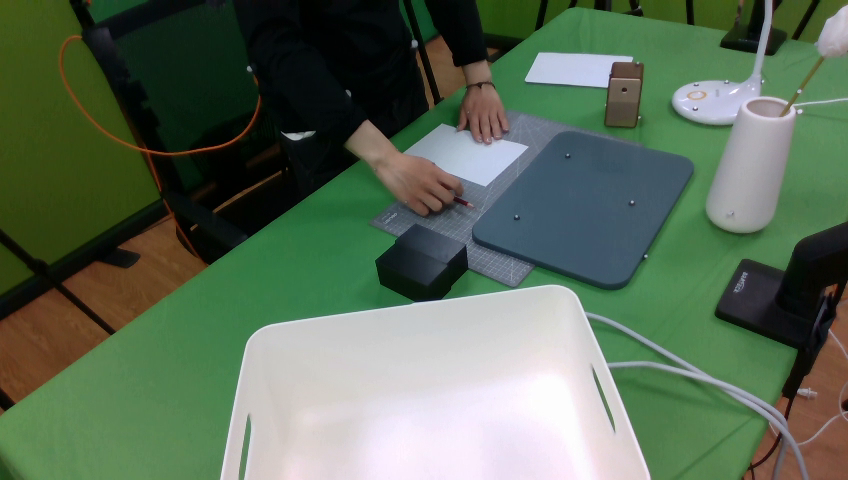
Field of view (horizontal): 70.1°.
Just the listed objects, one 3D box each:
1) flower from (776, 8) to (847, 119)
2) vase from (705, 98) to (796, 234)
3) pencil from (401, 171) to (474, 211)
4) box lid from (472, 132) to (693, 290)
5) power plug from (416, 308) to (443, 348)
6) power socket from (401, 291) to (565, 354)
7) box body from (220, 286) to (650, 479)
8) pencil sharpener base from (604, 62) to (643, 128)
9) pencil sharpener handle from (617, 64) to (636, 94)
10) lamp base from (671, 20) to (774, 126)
[{"bbox_3d":[0.476,-0.156,0.823,0.038,0.362,0.044,8,58,2],"label":"flower"},{"bbox_3d":[0.480,-0.104,0.889,0.098,0.201,0.097,-4,42,4],"label":"vase"},{"bbox_3d":[0.021,-0.087,1.071,0.012,0.012,0.192,-33,43,-27],"label":"pencil"},{"bbox_3d":[0.273,-0.068,1.020,0.261,0.015,0.372,20,47,28],"label":"box lid"},{"bbox_3d":[0.004,0.121,0.787,0.035,0.053,0.072,2,46,8],"label":"power plug"},{"bbox_3d":[0.079,0.111,0.823,0.227,0.033,0.072,-5,41,1],"label":"power socket"},{"bbox_3d":[0.006,0.210,0.618,0.364,0.161,0.252,-8,40,-1],"label":"box body"},{"bbox_3d":[0.390,-0.284,1.182,0.061,0.107,0.076,7,42,17],"label":"pencil sharpener base"},{"bbox_3d":[0.401,-0.327,1.211,0.036,0.068,0.030,16,44,8],"label":"pencil sharpener handle"},{"bbox_3d":[0.581,-0.332,1.154,0.179,0.181,0.160,2,41,7],"label":"lamp base"}]
